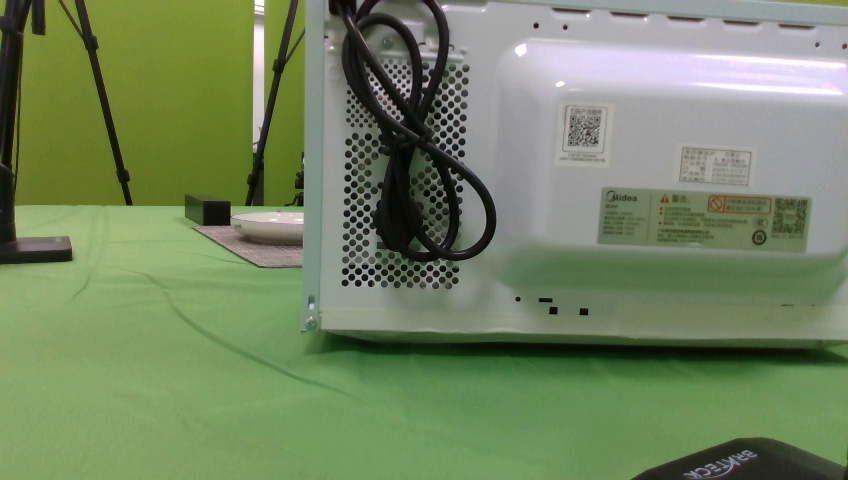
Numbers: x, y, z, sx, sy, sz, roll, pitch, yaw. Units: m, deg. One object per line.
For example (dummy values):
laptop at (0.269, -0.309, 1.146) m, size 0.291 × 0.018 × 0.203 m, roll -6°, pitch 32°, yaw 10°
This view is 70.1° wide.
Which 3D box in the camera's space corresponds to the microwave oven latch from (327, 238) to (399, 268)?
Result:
microwave oven latch at (-0.069, 0.015, 0.694) m, size 0.079 × 0.029 × 0.030 m, roll 3°, pitch 7°, yaw -3°

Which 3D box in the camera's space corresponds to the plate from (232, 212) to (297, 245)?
plate at (-0.214, -0.019, 1.018) m, size 0.208 × 0.039 × 0.207 m, roll 2°, pitch 7°, yaw 0°

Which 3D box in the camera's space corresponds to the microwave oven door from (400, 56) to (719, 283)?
microwave oven door at (0.155, -0.077, 0.698) m, size 0.356 × 0.243 × 0.039 m, roll 2°, pitch 8°, yaw -5°

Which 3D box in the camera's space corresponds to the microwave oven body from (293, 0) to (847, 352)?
microwave oven body at (0.122, -0.055, 0.550) m, size 0.442 × 0.260 × 0.325 m, roll 3°, pitch 7°, yaw -5°
